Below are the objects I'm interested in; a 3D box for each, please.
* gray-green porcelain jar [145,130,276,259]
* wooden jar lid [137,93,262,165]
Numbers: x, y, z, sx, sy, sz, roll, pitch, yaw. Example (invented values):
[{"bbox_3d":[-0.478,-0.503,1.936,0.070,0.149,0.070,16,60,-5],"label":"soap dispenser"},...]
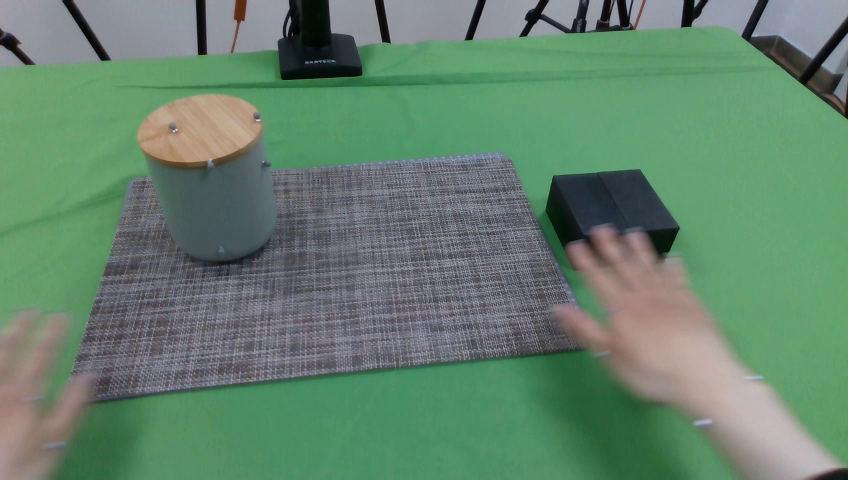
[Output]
[{"bbox_3d":[-0.204,-0.053,0.596,0.106,0.127,0.105,2,43,-1],"label":"gray-green porcelain jar"},{"bbox_3d":[-0.202,-0.098,0.553,0.108,0.021,0.107,2,45,-2],"label":"wooden jar lid"}]
